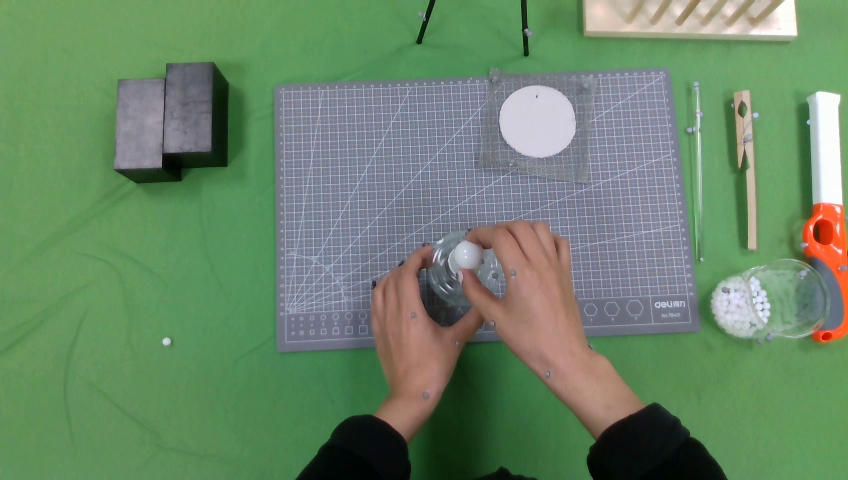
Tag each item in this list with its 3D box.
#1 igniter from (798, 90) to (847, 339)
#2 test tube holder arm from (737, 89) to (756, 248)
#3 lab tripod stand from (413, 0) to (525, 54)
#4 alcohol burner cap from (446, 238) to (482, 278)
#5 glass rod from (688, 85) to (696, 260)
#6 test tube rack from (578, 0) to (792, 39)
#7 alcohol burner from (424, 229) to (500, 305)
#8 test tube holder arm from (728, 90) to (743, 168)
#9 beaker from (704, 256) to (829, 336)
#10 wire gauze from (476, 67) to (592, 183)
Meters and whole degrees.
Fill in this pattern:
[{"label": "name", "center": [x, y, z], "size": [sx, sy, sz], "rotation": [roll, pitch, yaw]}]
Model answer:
[{"label": "igniter", "center": [0.433, -0.030, 0.658], "size": [0.057, 0.025, 0.275], "rotation": [6, 80, -10]}, {"label": "test tube holder arm", "center": [0.355, -0.080, 0.669], "size": [0.013, 0.015, 0.177], "rotation": [-7, 78, 33]}, {"label": "lab tripod stand", "center": [0.055, -0.267, 0.642], "size": [0.148, 0.132, 0.148], "rotation": [0, 82, 0]}, {"label": "alcohol burner cap", "center": [0.038, 0.014, 0.555], "size": [0.034, 0.048, 0.033], "rotation": [1, 76, -5]}, {"label": "glass rod", "center": [0.298, -0.077, 0.674], "size": [0.008, 0.008, 0.199], "rotation": [3, 83, 0]}, {"label": "test tube rack", "center": [0.301, -0.275, 0.669], "size": [0.242, 0.085, 0.066], "rotation": [1, 80, 0]}, {"label": "alcohol burner", "center": [0.038, 0.024, 0.600], "size": [0.078, 0.119, 0.077], "rotation": [0, 79, 2]}, {"label": "test tube holder arm", "center": [0.350, -0.124, 0.679], "size": [0.010, 0.015, 0.087], "rotation": [-6, 79, 34]}, {"label": "beaker", "center": [0.332, 0.058, 0.606], "size": [0.084, 0.100, 0.074], "rotation": [29, 81, 6]}, {"label": "wire gauze", "center": [0.124, -0.132, 0.681], "size": [0.125, 0.011, 0.121], "rotation": [8, 81, 0]}]
